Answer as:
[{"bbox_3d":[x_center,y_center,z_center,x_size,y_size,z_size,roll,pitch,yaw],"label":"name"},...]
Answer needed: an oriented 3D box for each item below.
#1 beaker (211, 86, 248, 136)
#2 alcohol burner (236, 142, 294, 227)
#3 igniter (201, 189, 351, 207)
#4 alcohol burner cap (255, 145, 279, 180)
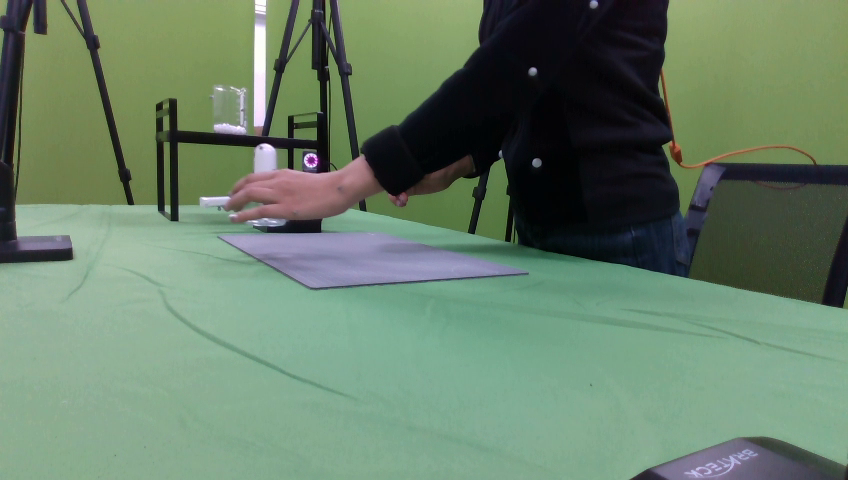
[{"bbox_3d":[-0.414,-0.274,1.297,0.074,0.100,0.083,-5,11,-44],"label":"beaker"},{"bbox_3d":[-0.220,-0.078,0.842,0.078,0.119,0.078,2,4,0],"label":"alcohol burner"},{"bbox_3d":[-0.272,-0.078,1.138,0.278,0.025,0.057,-5,11,-28],"label":"igniter"},{"bbox_3d":[-0.217,-0.107,0.838,0.034,0.048,0.034,1,5,0],"label":"alcohol burner cap"}]
